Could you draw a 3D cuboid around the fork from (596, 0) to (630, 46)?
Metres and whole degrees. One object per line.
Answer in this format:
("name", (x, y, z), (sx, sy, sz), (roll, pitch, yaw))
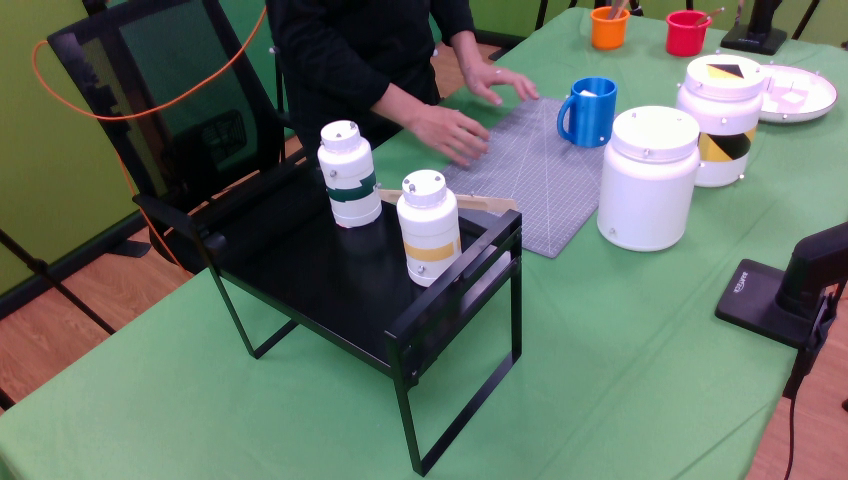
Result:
("fork", (0.480, -0.556, 1.452), (0.028, 0.019, 0.207), (40, 103, 40))

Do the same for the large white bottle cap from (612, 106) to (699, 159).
("large white bottle cap", (0.325, -0.153, 0.850), (0.115, 0.018, 0.114), (-4, 41, 4))

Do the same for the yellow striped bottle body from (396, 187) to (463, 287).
("yellow striped bottle body", (0.006, -0.013, 0.638), (0.063, 0.121, 0.062), (-5, 41, 5))

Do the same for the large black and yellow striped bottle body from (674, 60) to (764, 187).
("large black and yellow striped bottle body", (0.482, -0.196, 1.008), (0.131, 0.185, 0.130), (-4, 41, 4))

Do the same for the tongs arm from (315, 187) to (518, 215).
("tongs arm", (-0.028, -0.060, 0.988), (0.382, 0.027, 0.051), (10, 45, 36))

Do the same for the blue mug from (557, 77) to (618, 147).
("blue mug", (0.303, -0.237, 1.139), (0.117, 0.106, 0.081), (-19, 42, -13))

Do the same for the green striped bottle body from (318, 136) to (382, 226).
("green striped bottle body", (-0.091, -0.080, 0.733), (0.063, 0.120, 0.063), (-4, 41, 4))

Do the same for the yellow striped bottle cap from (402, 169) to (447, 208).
("yellow striped bottle cap", (0.000, -0.052, 0.604), (0.044, 0.019, 0.044), (-5, 42, 5))

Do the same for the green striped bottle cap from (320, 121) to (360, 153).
("green striped bottle cap", (-0.097, -0.120, 0.699), (0.044, 0.020, 0.044), (-3, 40, 3))

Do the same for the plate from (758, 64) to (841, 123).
("plate", (0.694, -0.283, 1.189), (0.207, 0.039, 0.206), (-4, 40, 4))

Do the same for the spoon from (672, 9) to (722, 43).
("spoon", (0.606, -0.476, 1.345), (0.042, 0.021, 0.193), (-6, -3, -2))

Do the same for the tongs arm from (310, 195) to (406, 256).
("tongs arm", (-0.078, -0.012, 0.944), (0.028, 0.028, 0.384), (-42, 39, -22))

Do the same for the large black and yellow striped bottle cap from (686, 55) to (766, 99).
("large black and yellow striped bottle cap", (0.474, -0.258, 0.952), (0.115, 0.019, 0.114), (-5, 41, 5))

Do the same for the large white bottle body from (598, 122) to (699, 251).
("large white bottle body", (0.334, -0.090, 0.906), (0.130, 0.185, 0.130), (-5, 41, 5))

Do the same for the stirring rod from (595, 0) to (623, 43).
("stirring rod", (0.460, -0.556, 1.459), (0.014, 0.006, 0.176), (29, 93, 22))
